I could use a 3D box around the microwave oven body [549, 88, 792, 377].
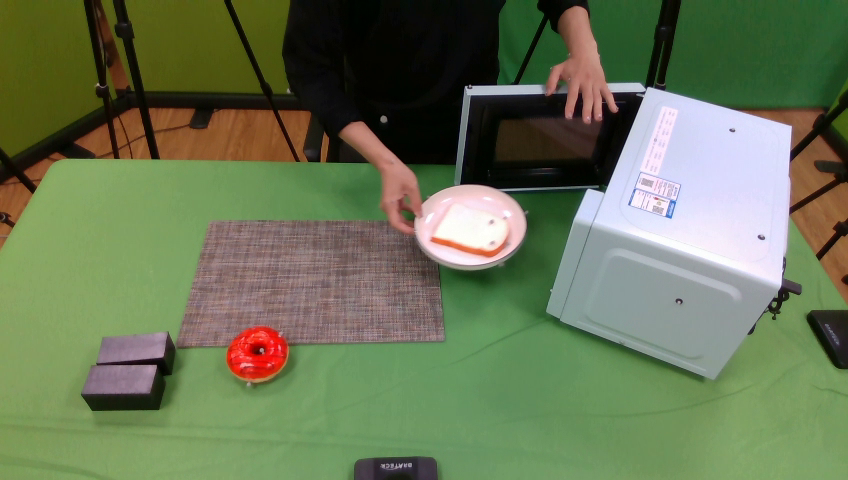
[{"bbox_3d":[0.456,-0.028,1.088,0.325,0.261,0.440,20,47,16],"label":"microwave oven body"}]

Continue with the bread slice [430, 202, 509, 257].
[{"bbox_3d":[0.091,-0.020,1.118,0.131,0.019,0.104,17,52,18],"label":"bread slice"}]

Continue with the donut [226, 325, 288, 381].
[{"bbox_3d":[-0.270,0.182,0.984,0.099,0.048,0.098,5,49,-5],"label":"donut"}]

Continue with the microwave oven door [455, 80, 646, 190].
[{"bbox_3d":[0.249,-0.208,1.236,0.356,0.245,0.039,-4,46,-6],"label":"microwave oven door"}]

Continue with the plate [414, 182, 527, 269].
[{"bbox_3d":[0.085,-0.023,1.120,0.208,0.039,0.206,-1,48,1],"label":"plate"}]

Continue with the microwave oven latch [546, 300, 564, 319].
[{"bbox_3d":[0.242,0.102,1.081,0.030,0.029,0.079,22,48,17],"label":"microwave oven latch"}]
